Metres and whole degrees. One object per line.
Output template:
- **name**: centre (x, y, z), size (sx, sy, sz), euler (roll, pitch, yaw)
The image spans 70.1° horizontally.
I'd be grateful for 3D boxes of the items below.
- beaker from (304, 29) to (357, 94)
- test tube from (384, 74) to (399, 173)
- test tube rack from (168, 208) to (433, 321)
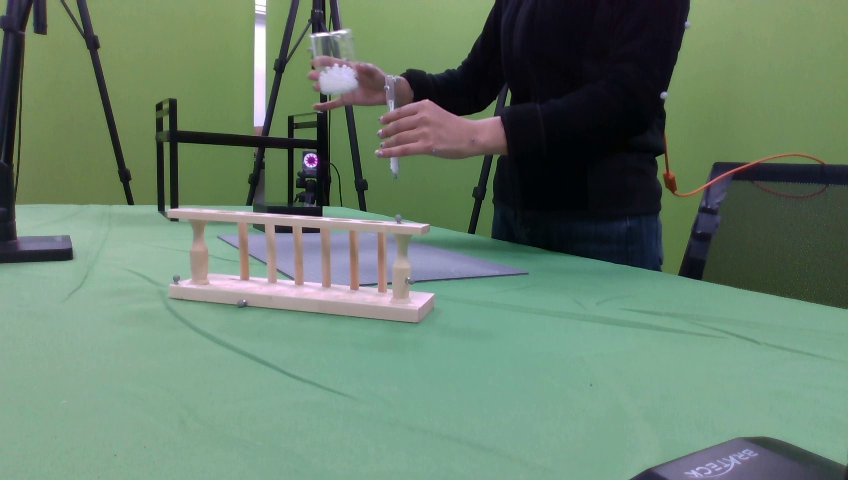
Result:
- **beaker**: centre (-0.156, -0.306, 1.039), size (0.074, 0.100, 0.083), euler (-18, 22, -23)
- **test tube**: centre (-0.050, -0.177, 0.915), size (0.017, 0.150, 0.017), euler (-3, -2, 0)
- **test tube rack**: centre (-0.116, 0.017, 0.574), size (0.242, 0.085, 0.067), euler (4, 8, 13)
